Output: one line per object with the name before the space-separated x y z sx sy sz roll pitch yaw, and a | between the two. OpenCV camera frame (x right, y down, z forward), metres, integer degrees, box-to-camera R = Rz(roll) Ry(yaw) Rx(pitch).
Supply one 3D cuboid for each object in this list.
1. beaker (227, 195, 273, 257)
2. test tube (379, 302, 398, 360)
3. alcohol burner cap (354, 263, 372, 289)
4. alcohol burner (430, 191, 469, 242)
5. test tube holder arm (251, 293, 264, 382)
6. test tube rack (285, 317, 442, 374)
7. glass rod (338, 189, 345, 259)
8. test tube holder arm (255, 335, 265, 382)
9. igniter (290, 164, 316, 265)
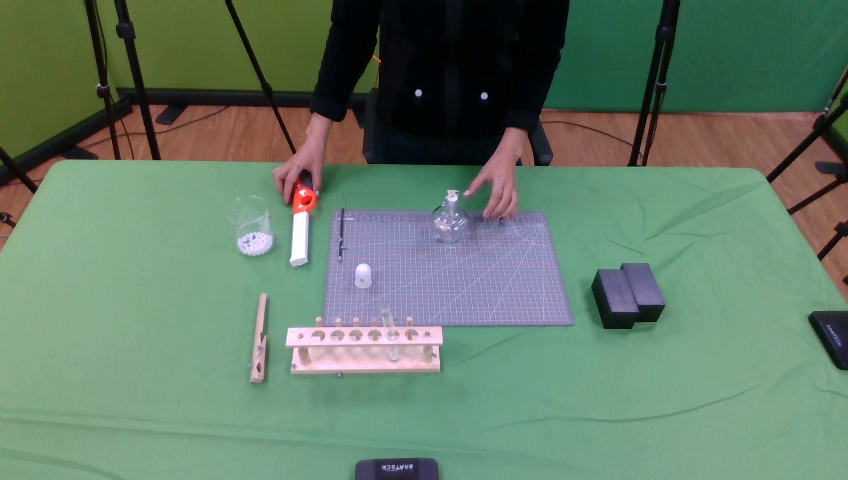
beaker | -0.326 -0.022 1.142 0.074 0.101 0.083 10 47 6
test tube | -0.054 0.145 0.943 0.017 0.151 0.017 -2 49 3
alcohol burner cap | -0.113 0.063 1.111 0.034 0.048 0.033 2 46 -2
alcohol burner | 0.052 -0.053 1.185 0.078 0.119 0.077 2 48 -2
test tube holder arm | -0.281 0.160 1.025 0.013 0.015 0.177 23 36 -32
test tube rack | -0.095 0.166 0.988 0.242 0.085 0.066 0 46 -4
glass rod | -0.166 -0.036 1.227 0.008 0.008 0.198 -1 46 -4
test tube holder arm | -0.270 0.193 0.997 0.010 0.015 0.087 24 36 -32
igniter | -0.248 -0.060 1.232 0.057 0.025 0.274 -16 47 9
